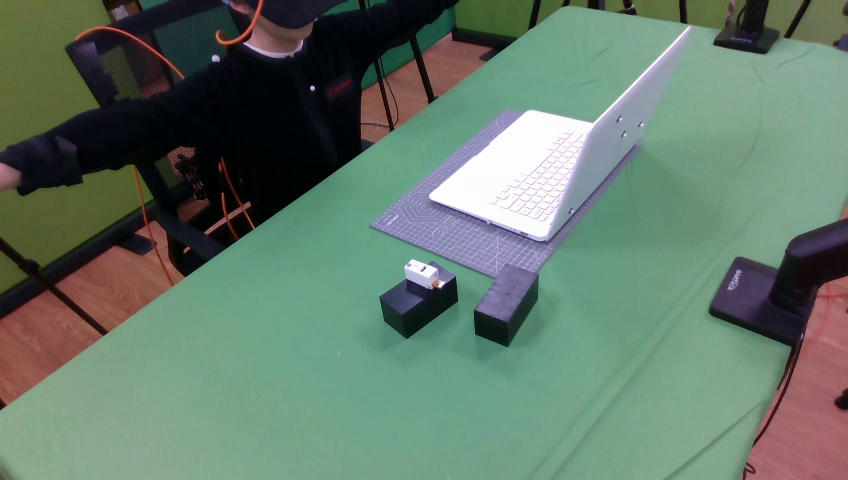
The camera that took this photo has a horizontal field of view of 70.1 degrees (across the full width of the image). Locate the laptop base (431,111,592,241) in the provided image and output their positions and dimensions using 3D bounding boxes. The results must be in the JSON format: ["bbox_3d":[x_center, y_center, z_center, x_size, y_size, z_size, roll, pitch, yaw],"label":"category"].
[{"bbox_3d":[0.206,-0.130,1.100,0.233,0.023,0.355,20,48,34],"label":"laptop base"}]

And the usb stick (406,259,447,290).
[{"bbox_3d":[0.005,0.050,0.837,0.059,0.027,0.021,24,48,29],"label":"usb stick"}]

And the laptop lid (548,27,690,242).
[{"bbox_3d":[0.309,-0.168,0.949,0.013,0.242,0.358,33,52,20],"label":"laptop lid"}]
